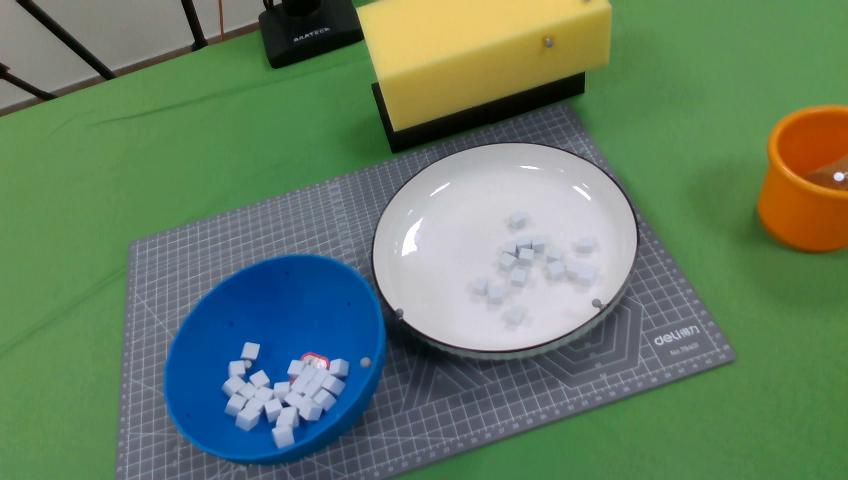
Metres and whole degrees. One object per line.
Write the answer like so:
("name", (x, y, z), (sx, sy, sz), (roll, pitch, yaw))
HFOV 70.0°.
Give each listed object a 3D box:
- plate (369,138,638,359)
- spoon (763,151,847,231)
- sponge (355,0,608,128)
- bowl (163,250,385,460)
("plate", (0.061, 0.004, 0.485), (0.209, 0.038, 0.207), (-6, 53, 8))
("spoon", (0.323, -0.076, 0.420), (0.022, 0.194, 0.041), (9, 44, -39))
("sponge", (0.050, -0.190, 0.561), (0.207, 0.061, 0.117), (-18, 52, -2))
("bowl", (-0.093, 0.090, 0.429), (0.151, 0.077, 0.150), (-6, 52, 8))
